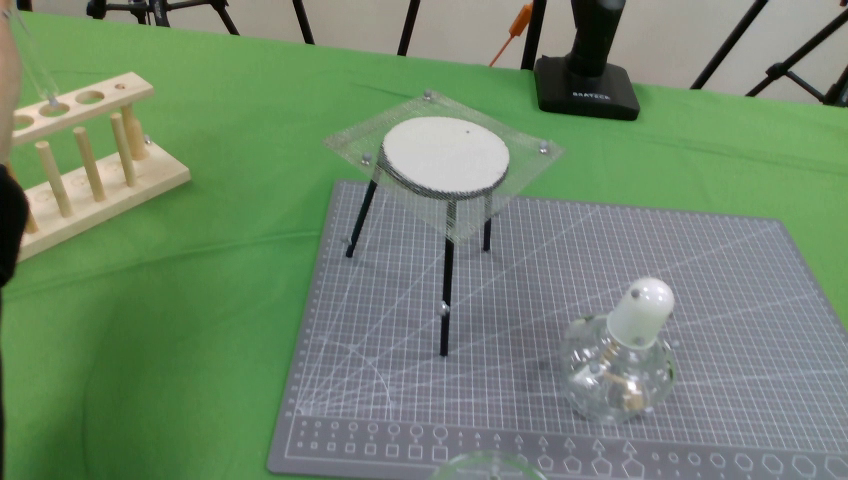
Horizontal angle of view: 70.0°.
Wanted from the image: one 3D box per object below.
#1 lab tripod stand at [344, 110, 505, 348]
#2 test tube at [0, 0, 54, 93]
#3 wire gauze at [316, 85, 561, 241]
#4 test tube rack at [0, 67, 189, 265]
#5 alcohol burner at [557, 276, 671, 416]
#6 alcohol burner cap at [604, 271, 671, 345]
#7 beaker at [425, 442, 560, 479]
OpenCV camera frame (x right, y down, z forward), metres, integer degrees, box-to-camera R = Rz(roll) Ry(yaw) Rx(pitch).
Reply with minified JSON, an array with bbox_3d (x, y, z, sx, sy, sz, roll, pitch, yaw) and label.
[{"bbox_3d":[0.007,-0.015,0.454,0.148,0.132,0.147,5,45,-5],"label":"lab tripod stand"},{"bbox_3d":[-0.288,-0.161,0.407,0.017,0.151,0.017,2,53,-2],"label":"test tube"},{"bbox_3d":[0.012,-0.063,0.407,0.124,0.011,0.121,35,51,24],"label":"wire gauze"},{"bbox_3d":[-0.319,-0.049,0.481,0.066,0.086,0.242,34,49,25],"label":"test tube rack"},{"bbox_3d":[0.132,0.065,0.404,0.078,0.120,0.077,5,43,-5],"label":"alcohol burner"},{"bbox_3d":[0.135,0.040,0.378,0.034,0.048,0.033,4,48,-4],"label":"alcohol burner cap"},{"bbox_3d":[0.025,0.161,0.305,0.084,0.101,0.073,-2,44,-9],"label":"beaker"}]
